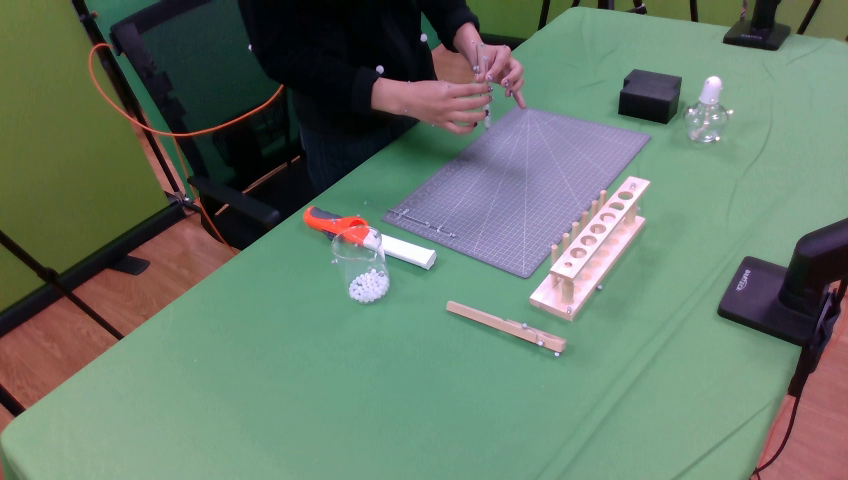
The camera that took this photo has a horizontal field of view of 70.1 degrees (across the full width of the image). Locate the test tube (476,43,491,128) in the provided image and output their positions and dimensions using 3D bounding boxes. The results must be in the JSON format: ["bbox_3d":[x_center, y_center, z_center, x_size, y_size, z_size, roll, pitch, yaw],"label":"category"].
[{"bbox_3d":[0.102,-0.260,1.029,0.017,0.151,0.017,-6,37,5],"label":"test tube"}]

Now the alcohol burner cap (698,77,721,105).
[{"bbox_3d":[0.509,-0.266,1.072,0.034,0.048,0.033,-4,48,5],"label":"alcohol burner cap"}]

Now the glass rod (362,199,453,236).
[{"bbox_3d":[-0.032,-0.041,1.041,0.198,0.008,0.008,22,50,31],"label":"glass rod"}]

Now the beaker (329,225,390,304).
[{"bbox_3d":[-0.089,0.040,0.890,0.074,0.101,0.083,-32,46,-24],"label":"beaker"}]

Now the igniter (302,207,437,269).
[{"bbox_3d":[-0.101,-0.008,1.004,0.274,0.025,0.057,19,57,29],"label":"igniter"}]

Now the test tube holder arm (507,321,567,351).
[{"bbox_3d":[0.148,0.128,0.808,0.087,0.015,0.010,16,11,28],"label":"test tube holder arm"}]

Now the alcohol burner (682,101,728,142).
[{"bbox_3d":[0.513,-0.239,1.097,0.078,0.119,0.077,-4,40,4],"label":"alcohol burner"}]

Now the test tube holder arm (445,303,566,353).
[{"bbox_3d":[0.107,0.117,0.824,0.177,0.015,0.013,16,11,27],"label":"test tube holder arm"}]

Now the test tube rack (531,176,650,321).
[{"bbox_3d":[0.246,0.002,0.884,0.066,0.085,0.243,22,49,32],"label":"test tube rack"}]
